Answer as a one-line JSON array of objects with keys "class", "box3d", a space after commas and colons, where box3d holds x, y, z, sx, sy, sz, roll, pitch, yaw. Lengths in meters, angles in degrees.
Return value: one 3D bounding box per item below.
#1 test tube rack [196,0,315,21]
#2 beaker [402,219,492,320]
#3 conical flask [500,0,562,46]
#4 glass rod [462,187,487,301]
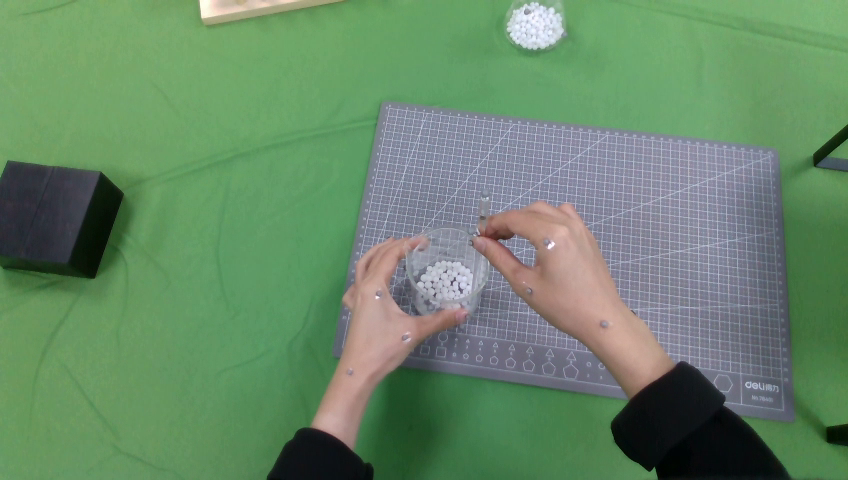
[{"class": "test tube rack", "box3d": [-0.161, -0.337, 0.719, 0.242, 0.086, 0.066, -12, 70, -5]}, {"class": "beaker", "box3d": [0.017, 0.031, 0.575, 0.084, 0.101, 0.073, 26, 71, 9]}, {"class": "conical flask", "box3d": [0.128, -0.284, 0.681, 0.075, 0.122, 0.075, 0, 69, 1]}, {"class": "glass rod", "box3d": [0.041, 0.011, 0.515, 0.008, 0.201, 0.008, 0, 62, 0]}]
